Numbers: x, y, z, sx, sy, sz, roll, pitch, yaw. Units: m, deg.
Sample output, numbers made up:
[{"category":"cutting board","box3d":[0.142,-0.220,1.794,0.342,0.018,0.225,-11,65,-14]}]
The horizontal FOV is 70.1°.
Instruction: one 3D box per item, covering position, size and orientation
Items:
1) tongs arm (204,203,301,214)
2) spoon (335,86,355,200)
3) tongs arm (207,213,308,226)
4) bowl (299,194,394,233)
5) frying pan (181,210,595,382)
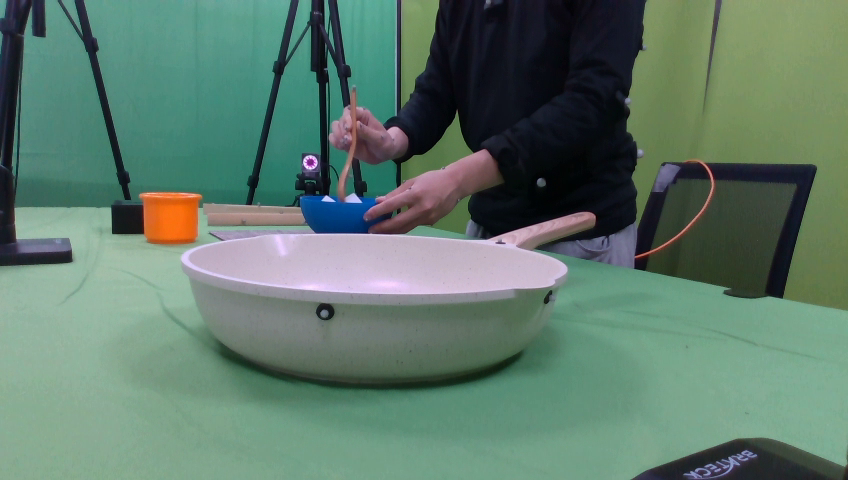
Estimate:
[{"category":"tongs arm","box3d":[-0.295,-0.062,1.370,0.386,0.026,0.050,1,9,-19]},{"category":"spoon","box3d":[-0.117,-0.142,0.931,0.022,0.193,0.041,8,-4,-3]},{"category":"tongs arm","box3d":[-0.264,-0.046,1.297,0.390,0.028,0.028,-2,7,-32]},{"category":"bowl","box3d":[-0.123,-0.029,0.958,0.151,0.077,0.151,3,7,0]},{"category":"frying pan","box3d":[0.035,0.019,0.557,0.305,0.102,0.490,10,19,42]}]
